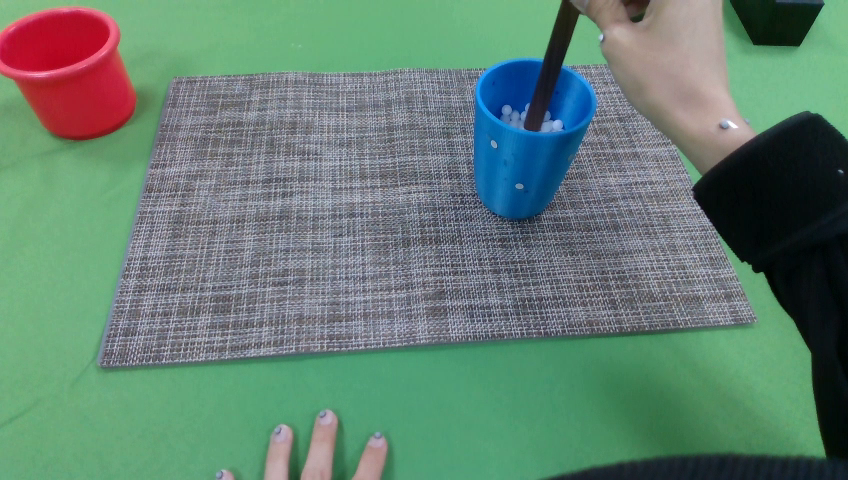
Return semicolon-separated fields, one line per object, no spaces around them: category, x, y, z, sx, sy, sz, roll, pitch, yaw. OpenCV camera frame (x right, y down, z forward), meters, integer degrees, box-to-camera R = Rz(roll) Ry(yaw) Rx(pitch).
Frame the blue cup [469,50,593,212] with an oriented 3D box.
blue cup;0.072;-0.075;0.457;0.093;0.101;0.091;2;52;-2

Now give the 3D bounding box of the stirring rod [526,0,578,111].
stirring rod;0.088;-0.141;0.392;0.014;0.177;0.006;14;54;3
